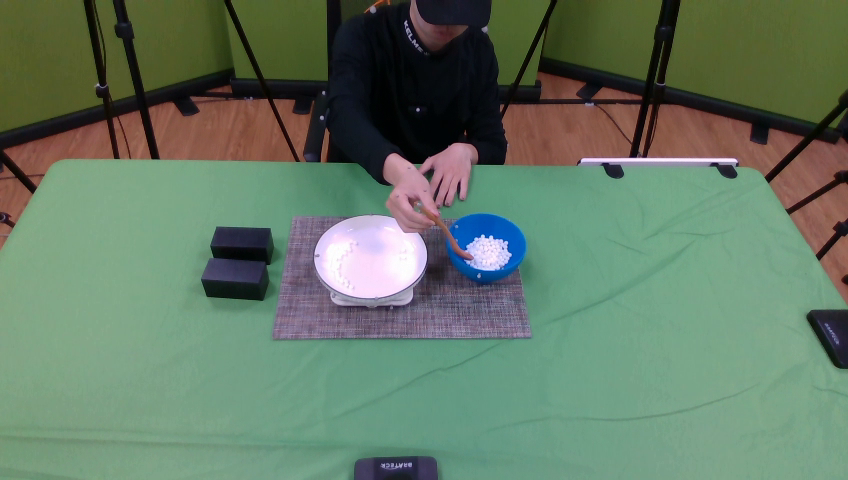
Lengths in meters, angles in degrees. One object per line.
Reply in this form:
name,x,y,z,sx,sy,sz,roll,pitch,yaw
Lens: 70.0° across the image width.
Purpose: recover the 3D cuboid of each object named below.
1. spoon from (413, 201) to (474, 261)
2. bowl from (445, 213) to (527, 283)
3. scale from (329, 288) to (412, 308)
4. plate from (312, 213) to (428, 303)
spoon,0.035,-0.016,1.050,0.021,0.195,0.041,-43,44,-2
bowl,0.111,0.028,1.137,0.151,0.077,0.150,2,46,-2
scale,-0.098,0.042,1.139,0.149,0.032,0.199,1,46,-4
plate,-0.097,0.036,1.100,0.209,0.038,0.208,2,46,-2
